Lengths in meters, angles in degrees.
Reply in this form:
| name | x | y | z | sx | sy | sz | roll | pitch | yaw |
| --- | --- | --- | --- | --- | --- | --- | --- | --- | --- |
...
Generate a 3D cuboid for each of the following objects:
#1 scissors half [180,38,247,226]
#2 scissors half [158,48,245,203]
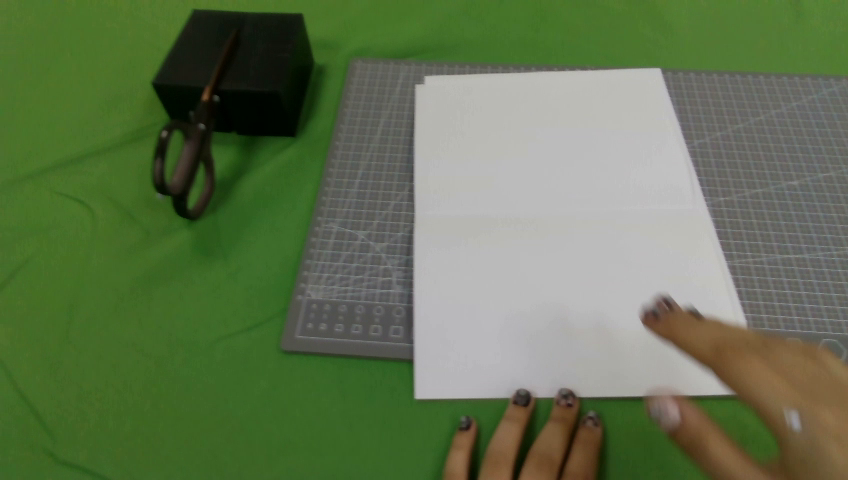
| name | x | y | z | sx | sy | sz | roll | pitch | yaw |
| --- | --- | --- | --- | --- | --- | --- | --- | --- | --- |
| scissors half | -0.163 | -0.092 | 0.488 | 0.013 | 0.040 | 0.174 | 2 | 71 | 15 |
| scissors half | -0.167 | -0.101 | 0.470 | 0.013 | 0.040 | 0.173 | 4 | 54 | 10 |
